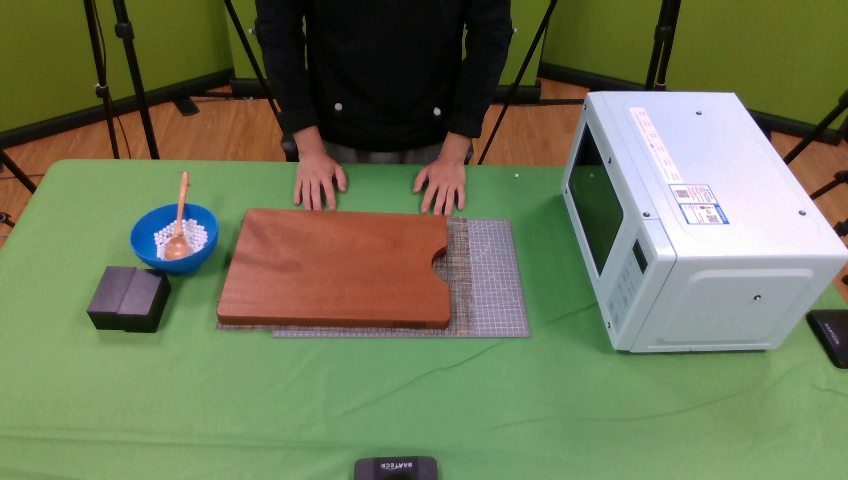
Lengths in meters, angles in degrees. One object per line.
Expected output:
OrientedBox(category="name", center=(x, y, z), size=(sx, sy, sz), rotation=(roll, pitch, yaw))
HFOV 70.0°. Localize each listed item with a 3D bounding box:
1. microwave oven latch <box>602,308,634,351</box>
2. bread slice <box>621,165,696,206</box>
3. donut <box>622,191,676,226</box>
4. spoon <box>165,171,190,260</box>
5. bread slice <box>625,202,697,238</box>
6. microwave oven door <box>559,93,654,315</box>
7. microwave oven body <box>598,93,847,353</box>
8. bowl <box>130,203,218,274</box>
OrientedBox(category="microwave oven latch", center=(0.332, 0.153, 1.044), size=(0.030, 0.029, 0.078), rotation=(-1, 45, -4))
OrientedBox(category="bread slice", center=(0.447, -0.102, 1.147), size=(0.135, 0.018, 0.106), rotation=(2, 41, -22))
OrientedBox(category="donut", center=(0.436, -0.061, 1.174), size=(0.099, 0.048, 0.098), rotation=(-7, 28, 4))
OrientedBox(category="spoon", center=(-0.452, -0.046, 1.129), size=(0.041, 0.022, 0.193), rotation=(-1, 69, -2))
OrientedBox(category="bread slice", center=(0.468, -0.042, 1.199), size=(0.131, 0.019, 0.104), rotation=(1, 38, 9))
OrientedBox(category="microwave oven door", center=(0.327, -0.074, 1.123), size=(0.039, 0.245, 0.353), rotation=(-1, 46, -5))
OrientedBox(category="microwave oven body", center=(0.475, -0.041, 1.110), size=(0.326, 0.261, 0.438), rotation=(-1, 45, -4))
OrientedBox(category="bowl", center=(-0.450, 0.010, 1.117), size=(0.151, 0.077, 0.150), rotation=(3, 45, -3))
